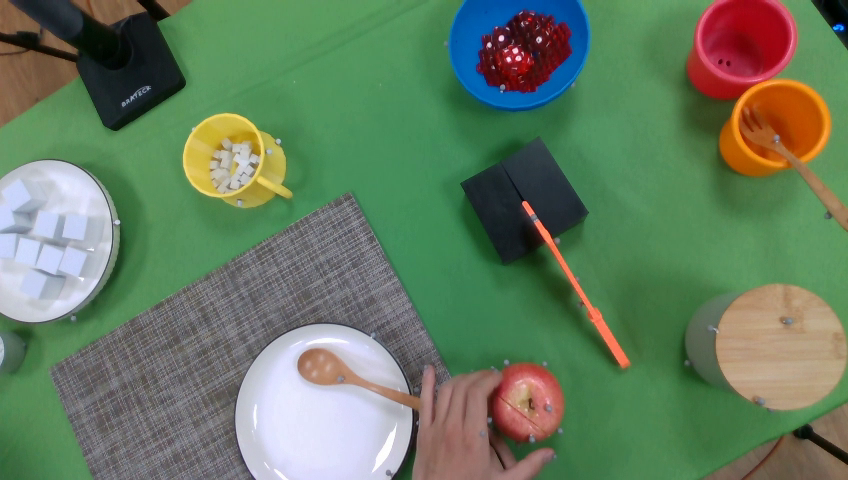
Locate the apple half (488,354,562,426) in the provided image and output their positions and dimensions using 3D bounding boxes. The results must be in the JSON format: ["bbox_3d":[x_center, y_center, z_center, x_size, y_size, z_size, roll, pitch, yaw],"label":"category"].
[{"bbox_3d":[0.114,0.151,0.644,0.080,0.075,0.053,35,88,14],"label":"apple half"}]

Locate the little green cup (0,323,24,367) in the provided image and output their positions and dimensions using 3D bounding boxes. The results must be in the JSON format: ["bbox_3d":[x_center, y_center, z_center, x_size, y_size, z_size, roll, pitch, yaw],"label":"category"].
[{"bbox_3d":[-0.544,0.133,0.766,0.061,0.039,0.061,-1,84,7],"label":"little green cup"}]

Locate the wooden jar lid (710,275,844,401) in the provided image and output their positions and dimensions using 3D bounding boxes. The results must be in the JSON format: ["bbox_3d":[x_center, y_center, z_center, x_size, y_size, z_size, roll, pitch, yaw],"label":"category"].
[{"bbox_3d":[0.304,0.085,0.528,0.108,0.021,0.108,-1,86,8],"label":"wooden jar lid"}]

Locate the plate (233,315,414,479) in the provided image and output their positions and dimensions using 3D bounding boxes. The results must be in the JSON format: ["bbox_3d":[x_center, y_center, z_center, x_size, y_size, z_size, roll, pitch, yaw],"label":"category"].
[{"bbox_3d":[-0.112,0.190,0.689,0.209,0.038,0.208,-1,85,9],"label":"plate"}]

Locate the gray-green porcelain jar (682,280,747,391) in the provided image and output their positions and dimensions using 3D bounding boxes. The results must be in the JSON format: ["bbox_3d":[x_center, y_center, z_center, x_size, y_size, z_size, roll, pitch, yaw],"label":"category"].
[{"bbox_3d":[0.315,0.093,0.589,0.105,0.127,0.105,-1,83,9],"label":"gray-green porcelain jar"}]

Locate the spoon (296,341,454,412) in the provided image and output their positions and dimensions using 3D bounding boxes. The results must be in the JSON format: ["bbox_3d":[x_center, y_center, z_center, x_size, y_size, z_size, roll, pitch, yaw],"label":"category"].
[{"bbox_3d":[-0.057,0.156,0.670,0.192,0.022,0.041,15,75,22],"label":"spoon"}]

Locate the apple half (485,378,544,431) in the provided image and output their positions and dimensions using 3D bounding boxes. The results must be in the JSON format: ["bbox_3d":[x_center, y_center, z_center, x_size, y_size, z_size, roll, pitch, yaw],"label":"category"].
[{"bbox_3d":[0.093,0.179,0.642,0.081,0.081,0.033,32,93,11],"label":"apple half"}]

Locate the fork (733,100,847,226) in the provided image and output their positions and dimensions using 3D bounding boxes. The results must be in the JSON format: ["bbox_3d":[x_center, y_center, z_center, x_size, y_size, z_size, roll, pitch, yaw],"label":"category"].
[{"bbox_3d":[0.355,-0.081,0.588,0.028,0.019,0.205,-14,39,7],"label":"fork"}]

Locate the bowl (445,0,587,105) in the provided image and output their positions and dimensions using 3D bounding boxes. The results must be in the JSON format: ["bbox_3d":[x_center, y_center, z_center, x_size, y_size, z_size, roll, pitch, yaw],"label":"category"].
[{"bbox_3d":[0.102,-0.216,0.678,0.151,0.077,0.151,-1,85,9],"label":"bowl"}]

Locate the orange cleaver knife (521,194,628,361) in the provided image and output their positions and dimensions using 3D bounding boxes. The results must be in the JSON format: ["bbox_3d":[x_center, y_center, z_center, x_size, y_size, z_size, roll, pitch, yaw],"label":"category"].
[{"bbox_3d":[0.158,0.041,0.637,0.012,0.076,0.213,-32,113,8],"label":"orange cleaver knife"}]

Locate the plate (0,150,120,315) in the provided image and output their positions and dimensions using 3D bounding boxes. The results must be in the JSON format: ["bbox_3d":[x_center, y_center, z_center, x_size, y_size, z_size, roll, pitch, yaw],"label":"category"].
[{"bbox_3d":[-0.477,-0.009,0.771,0.207,0.039,0.207,-1,84,9],"label":"plate"}]

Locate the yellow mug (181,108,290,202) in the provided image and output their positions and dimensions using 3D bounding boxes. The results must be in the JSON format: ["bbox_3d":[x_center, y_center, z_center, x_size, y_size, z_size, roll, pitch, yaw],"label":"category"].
[{"bbox_3d":[-0.215,-0.092,0.723,0.130,0.064,0.100,31,89,10],"label":"yellow mug"}]
